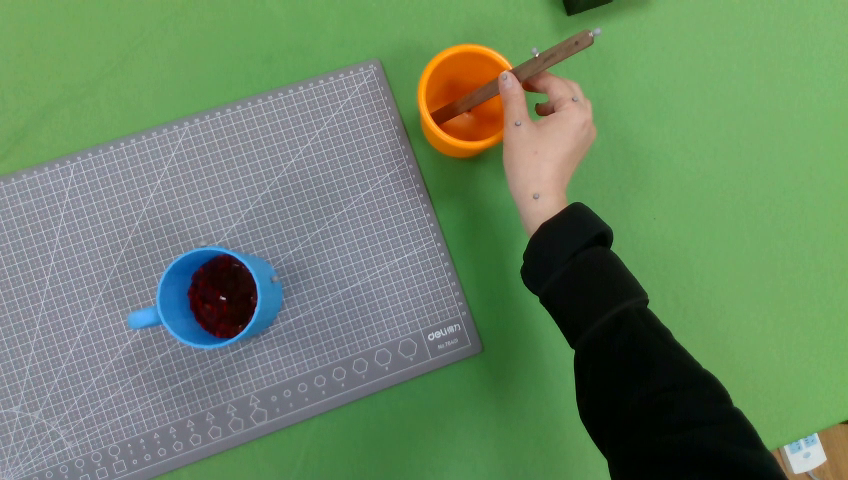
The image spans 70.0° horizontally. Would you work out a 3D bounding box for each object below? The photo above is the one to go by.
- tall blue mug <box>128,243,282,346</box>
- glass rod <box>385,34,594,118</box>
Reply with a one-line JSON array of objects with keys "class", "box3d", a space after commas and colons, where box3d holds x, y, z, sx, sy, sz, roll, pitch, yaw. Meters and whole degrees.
[{"class": "tall blue mug", "box3d": [-0.177, 0.055, 0.504, 0.107, 0.108, 0.078, -44, 91, -7]}, {"class": "glass rod", "box3d": [0.049, -0.139, 0.525, 0.199, 0.008, 0.008, -14, 87, 28]}]
